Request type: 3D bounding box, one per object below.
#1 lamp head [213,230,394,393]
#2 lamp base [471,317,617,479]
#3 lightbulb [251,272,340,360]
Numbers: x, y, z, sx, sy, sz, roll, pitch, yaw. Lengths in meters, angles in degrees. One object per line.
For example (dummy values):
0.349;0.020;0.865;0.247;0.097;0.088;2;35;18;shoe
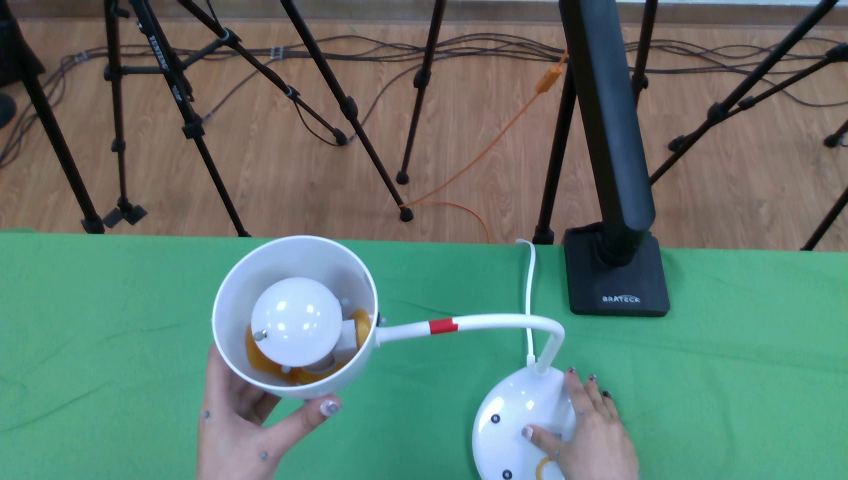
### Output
-0.082;0.066;0.461;0.112;0.124;0.111;-2;65;5;lamp head
0.128;0.165;0.613;0.161;0.182;0.177;-10;58;-5;lamp base
-0.088;0.060;0.436;0.059;0.108;0.059;1;69;-1;lightbulb
